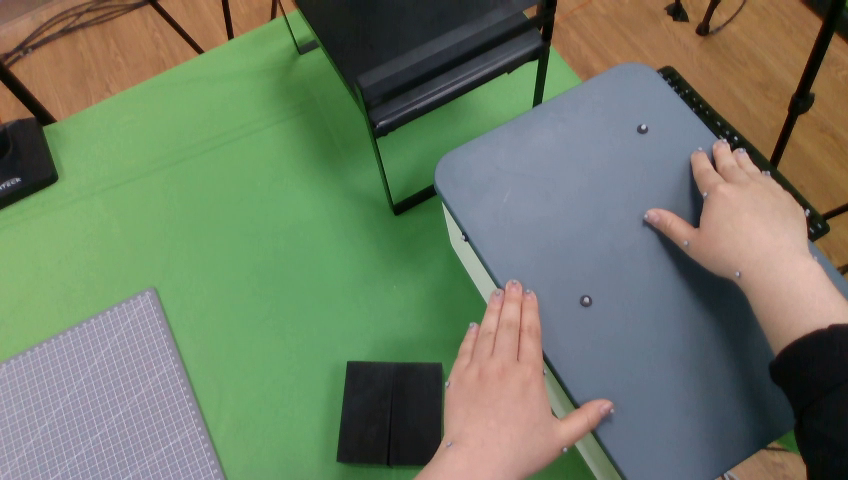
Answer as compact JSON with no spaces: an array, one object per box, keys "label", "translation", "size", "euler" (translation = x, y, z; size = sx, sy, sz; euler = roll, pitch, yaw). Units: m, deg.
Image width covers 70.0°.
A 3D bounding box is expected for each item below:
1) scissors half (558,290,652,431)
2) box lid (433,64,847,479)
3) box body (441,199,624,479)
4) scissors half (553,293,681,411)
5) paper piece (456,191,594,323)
[{"label":"scissors half","translation":[0.189,0.126,0.659],"size":[0.040,0.013,0.173],"euler":[-21,59,-4]},{"label":"box lid","translation":[0.198,0.007,0.552],"size":[0.263,0.015,0.368],"euler":[-28,67,-8]},{"label":"box body","translation":[0.205,0.039,0.619],"size":[0.254,0.161,0.361],"euler":[-28,67,-8]},{"label":"scissors half","translation":[0.207,0.116,0.662],"size":[0.040,0.013,0.173],"euler":[-38,63,-19]},{"label":"paper piece","translation":[0.122,0.017,0.729],"size":[0.136,0.009,0.137],"euler":[-16,78,-10]}]
